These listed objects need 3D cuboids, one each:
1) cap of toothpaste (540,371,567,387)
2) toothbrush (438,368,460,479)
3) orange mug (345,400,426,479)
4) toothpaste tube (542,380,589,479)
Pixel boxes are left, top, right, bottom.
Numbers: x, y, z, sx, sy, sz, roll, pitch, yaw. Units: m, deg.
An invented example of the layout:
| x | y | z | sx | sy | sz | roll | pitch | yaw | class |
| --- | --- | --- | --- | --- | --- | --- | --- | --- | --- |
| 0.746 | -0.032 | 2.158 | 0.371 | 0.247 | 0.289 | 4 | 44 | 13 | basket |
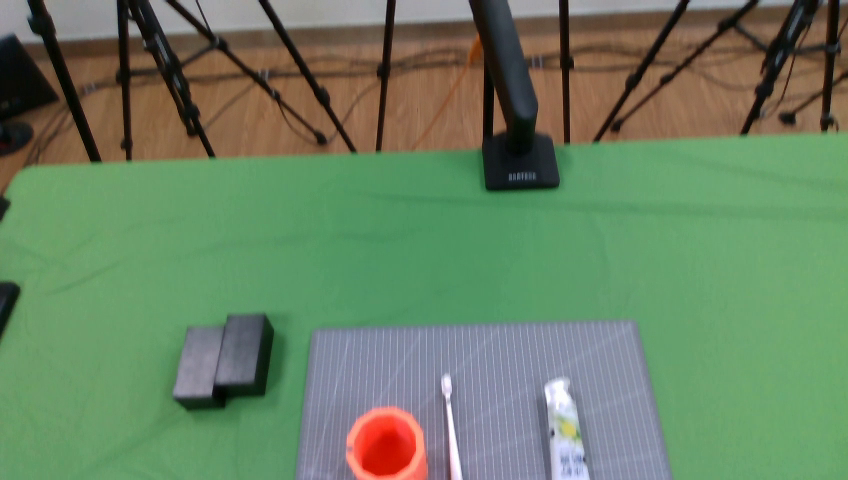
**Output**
| x | y | z | sx | sy | sz | roll | pitch | yaw | class |
| --- | --- | --- | --- | --- | --- | --- | --- | --- | --- |
| 0.165 | 0.179 | 0.769 | 0.037 | 0.038 | 0.011 | -12 | 54 | -6 | cap of toothpaste |
| 0.033 | 0.244 | 0.745 | 0.014 | 0.017 | 0.180 | 3 | 57 | -13 | toothbrush |
| -0.032 | 0.254 | 0.692 | 0.083 | 0.102 | 0.125 | -31 | 56 | -17 | orange mug |
| 0.167 | 0.249 | 0.729 | 0.055 | 0.035 | 0.163 | -7 | 60 | 7 | toothpaste tube |
